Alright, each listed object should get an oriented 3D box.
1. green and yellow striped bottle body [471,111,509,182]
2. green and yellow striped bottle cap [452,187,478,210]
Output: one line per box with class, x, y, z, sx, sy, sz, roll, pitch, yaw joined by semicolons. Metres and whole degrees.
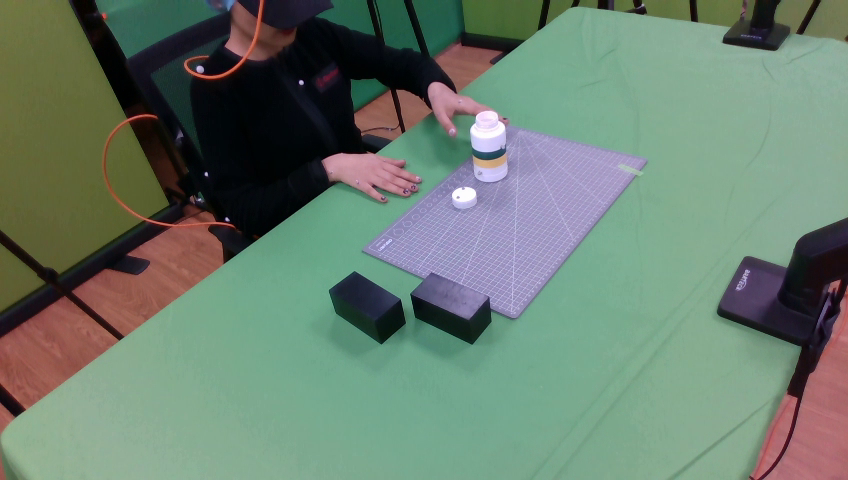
green and yellow striped bottle body;0.117;-0.169;1.079;0.063;0.120;0.063;-6;40;5
green and yellow striped bottle cap;0.072;-0.074;1.058;0.045;0.020;0.045;-6;39;6
